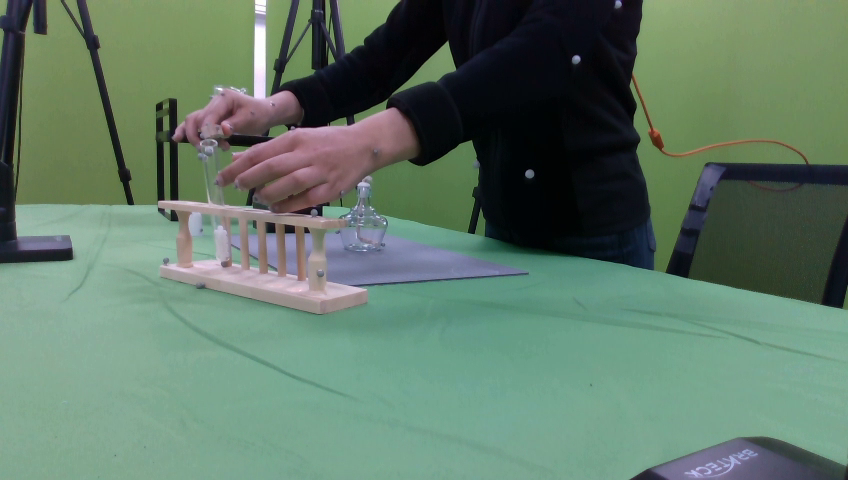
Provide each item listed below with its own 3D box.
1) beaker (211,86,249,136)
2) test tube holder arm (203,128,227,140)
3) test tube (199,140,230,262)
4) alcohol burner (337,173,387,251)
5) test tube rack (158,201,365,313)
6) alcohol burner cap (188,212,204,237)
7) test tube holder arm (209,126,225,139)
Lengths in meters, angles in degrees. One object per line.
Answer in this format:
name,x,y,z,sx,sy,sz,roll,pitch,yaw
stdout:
beaker,-0.413,-0.274,1.297,0.074,0.100,0.083,-5,11,-44
test tube holder arm,-0.278,-0.142,0.809,0.013,0.015,0.178,-14,12,-11
test tube,-0.216,-0.036,0.627,0.017,0.150,0.017,5,38,-3
alcohol burner,-0.095,-0.043,0.926,0.078,0.119,0.078,3,5,0
test tube rack,-0.173,0.009,0.624,0.241,0.085,0.067,7,9,34
alcohol burner cap,-0.390,-0.029,1.025,0.034,0.048,0.034,1,8,0
test tube holder arm,-0.262,-0.136,0.767,0.010,0.015,0.087,-14,12,-10
